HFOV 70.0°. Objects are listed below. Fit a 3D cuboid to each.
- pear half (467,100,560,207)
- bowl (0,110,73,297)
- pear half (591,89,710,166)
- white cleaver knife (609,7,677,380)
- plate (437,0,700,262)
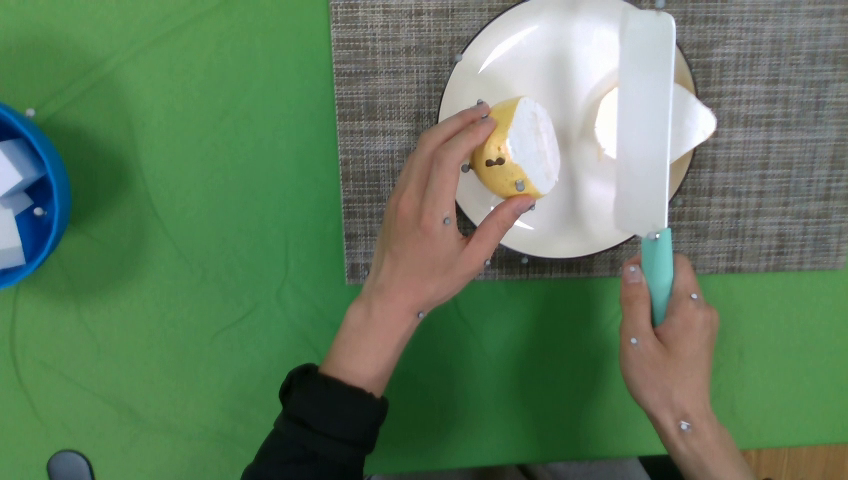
[{"bbox_3d":[0.055,-0.057,0.435,0.056,0.110,0.076,-20,92,31],"label":"pear half"},{"bbox_3d":[-0.338,-0.035,0.468,0.151,0.076,0.152,-1,103,-2],"label":"bowl"},{"bbox_3d":[0.181,-0.090,0.488,0.088,0.031,0.070,7,103,14],"label":"pear half"},{"bbox_3d":[0.164,-0.023,0.457,0.021,0.065,0.288,-12,110,-18],"label":"white cleaver knife"},{"bbox_3d":[0.114,-0.087,0.491,0.208,0.039,0.208,-1,104,-2],"label":"plate"}]
